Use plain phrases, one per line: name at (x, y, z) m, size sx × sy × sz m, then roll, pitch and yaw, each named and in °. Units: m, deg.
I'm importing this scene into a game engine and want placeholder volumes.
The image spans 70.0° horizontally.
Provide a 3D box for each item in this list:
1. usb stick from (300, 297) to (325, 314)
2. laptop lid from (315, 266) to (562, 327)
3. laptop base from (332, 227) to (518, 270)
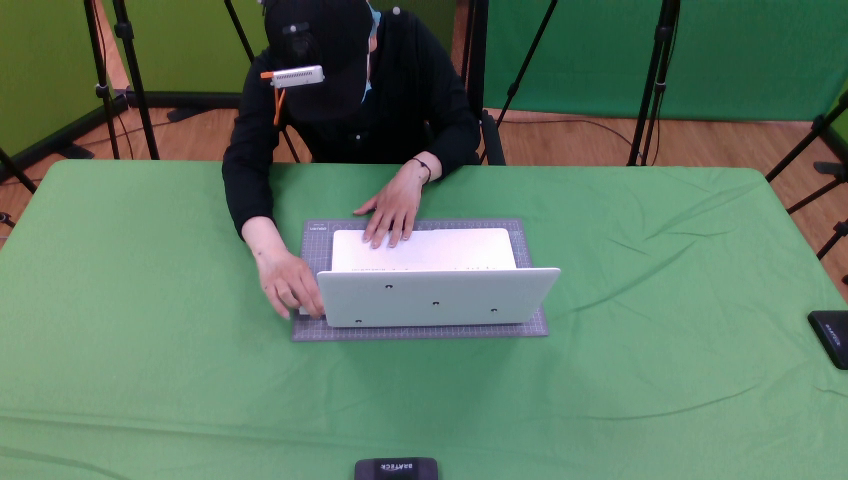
usb stick at (-0.186, 0.114, 1.056) m, size 0.059 × 0.027 × 0.021 m, roll 1°, pitch 49°, yaw -11°
laptop lid at (0.018, 0.094, 0.950) m, size 0.357 × 0.242 × 0.013 m, roll 0°, pitch 63°, yaw -5°
laptop base at (0.004, 0.063, 1.136) m, size 0.355 × 0.023 × 0.234 m, roll -1°, pitch 43°, yaw -4°
